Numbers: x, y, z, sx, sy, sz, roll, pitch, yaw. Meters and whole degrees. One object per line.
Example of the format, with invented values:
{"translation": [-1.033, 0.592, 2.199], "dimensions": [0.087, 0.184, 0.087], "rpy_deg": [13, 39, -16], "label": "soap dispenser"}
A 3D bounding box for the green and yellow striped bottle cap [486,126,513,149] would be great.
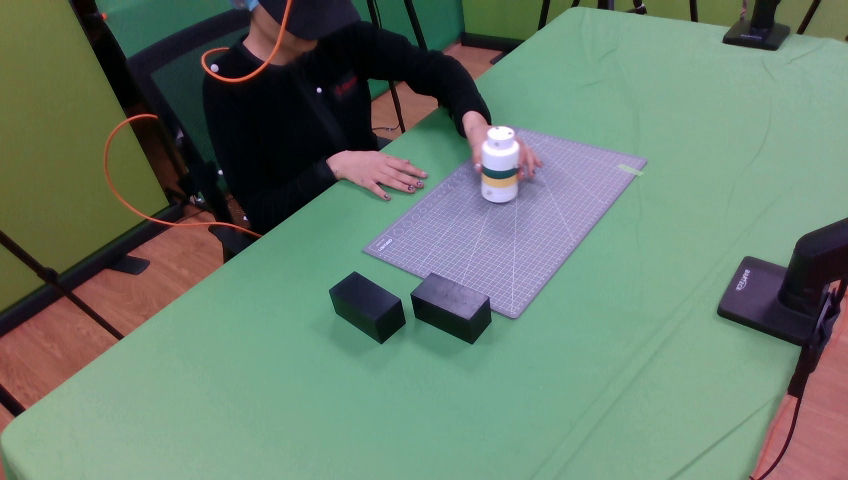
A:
{"translation": [0.124, -0.168, 0.989], "dimensions": [0.045, 0.020, 0.045], "rpy_deg": [-1, 38, 2], "label": "green and yellow striped bottle cap"}

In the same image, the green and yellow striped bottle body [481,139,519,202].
{"translation": [0.128, -0.129, 1.023], "dimensions": [0.063, 0.120, 0.063], "rpy_deg": [-3, 39, 3], "label": "green and yellow striped bottle body"}
